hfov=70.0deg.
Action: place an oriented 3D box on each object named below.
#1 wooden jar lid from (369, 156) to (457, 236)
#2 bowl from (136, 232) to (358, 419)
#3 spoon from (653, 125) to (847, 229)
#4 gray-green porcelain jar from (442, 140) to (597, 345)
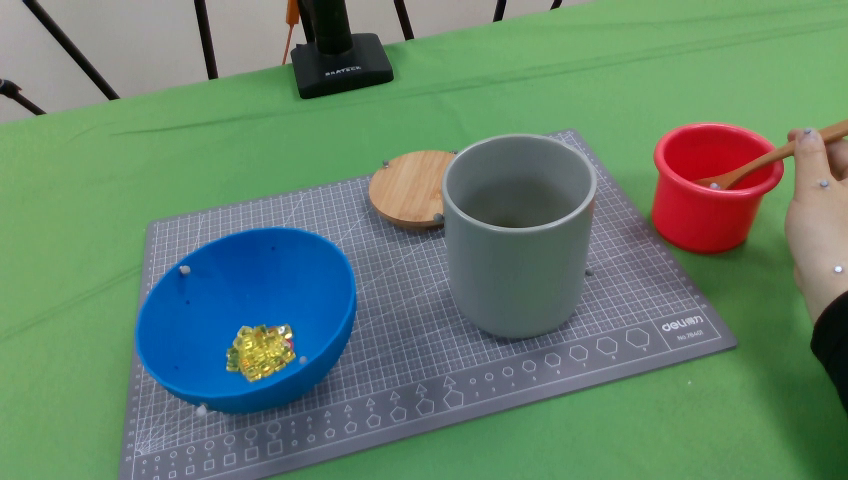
[{"bbox_3d":[0.002,-0.042,0.587,0.108,0.021,0.107,-4,43,4],"label":"wooden jar lid"},{"bbox_3d":[-0.117,0.073,0.442,0.151,0.077,0.150,-3,44,4],"label":"bowl"},{"bbox_3d":[0.268,-0.054,0.475,0.022,0.193,0.041,30,54,-22],"label":"spoon"},{"bbox_3d":[0.070,0.007,0.451,0.106,0.128,0.105,-4,44,4],"label":"gray-green porcelain jar"}]
